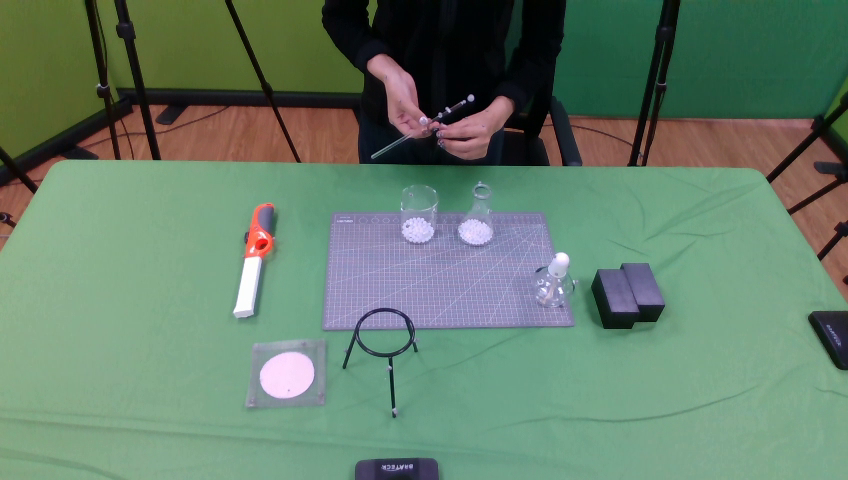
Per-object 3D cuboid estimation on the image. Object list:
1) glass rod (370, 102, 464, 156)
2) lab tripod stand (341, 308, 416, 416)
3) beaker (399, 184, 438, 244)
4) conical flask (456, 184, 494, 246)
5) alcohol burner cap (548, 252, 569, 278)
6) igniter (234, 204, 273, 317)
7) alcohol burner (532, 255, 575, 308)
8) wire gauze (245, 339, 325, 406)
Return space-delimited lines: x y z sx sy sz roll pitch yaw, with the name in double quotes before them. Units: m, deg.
"glass rod" -0.013 -0.206 1.120 0.200 0.008 0.008 -30 52 -4
"lab tripod stand" -0.061 0.177 0.946 0.148 0.132 0.147 2 44 -2
"beaker" -0.015 -0.046 1.186 0.073 0.101 0.084 36 54 27
"conical flask" 0.106 -0.052 1.185 0.075 0.122 0.075 2 46 -2
"alcohol burner cap" 0.238 0.042 1.060 0.034 0.048 0.033 1 54 -1
"igniter" -0.320 0.029 1.142 0.057 0.025 0.274 -8 46 3
"alcohol burner" 0.235 0.066 1.087 0.078 0.119 0.077 4 45 -3
"wire gauze" -0.224 0.214 0.984 0.125 0.011 0.120 -2 46 -5
